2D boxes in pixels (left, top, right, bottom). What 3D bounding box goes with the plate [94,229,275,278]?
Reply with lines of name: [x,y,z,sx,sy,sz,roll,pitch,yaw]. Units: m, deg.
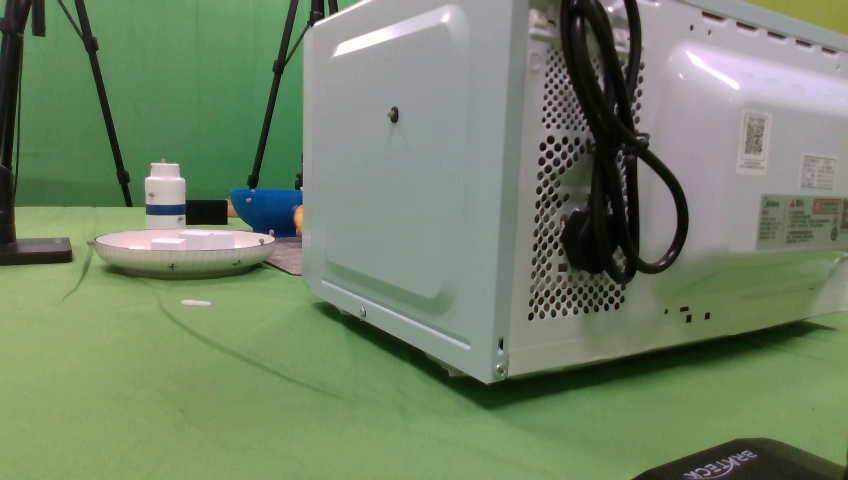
plate: [-0.291,0.016,0.750,0.208,0.039,0.207,2,7,0]

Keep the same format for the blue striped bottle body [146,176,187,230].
blue striped bottle body: [-0.430,-0.065,1.010,0.063,0.120,0.063,2,7,0]

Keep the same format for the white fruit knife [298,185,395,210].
white fruit knife: [-0.122,-0.073,0.998,0.016,0.027,0.208,24,12,40]

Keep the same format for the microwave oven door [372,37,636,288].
microwave oven door: [0.110,-0.080,0.686,0.358,0.243,0.039,-2,9,-33]

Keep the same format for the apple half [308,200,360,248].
apple half: [-0.133,-0.023,0.941,0.081,0.074,0.053,1,13,-44]

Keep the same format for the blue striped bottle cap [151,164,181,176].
blue striped bottle cap: [-0.428,-0.116,1.002,0.044,0.020,0.044,1,6,0]

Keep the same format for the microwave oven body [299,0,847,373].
microwave oven body: [0.151,-0.055,0.542,0.444,0.260,0.324,-2,7,-33]

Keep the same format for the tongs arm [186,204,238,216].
tongs arm: [-0.396,-0.067,1.399,0.389,0.028,0.028,1,5,-15]

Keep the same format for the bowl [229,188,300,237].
bowl: [-0.265,-0.048,1.066,0.151,0.077,0.151,3,8,0]

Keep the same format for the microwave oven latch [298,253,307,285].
microwave oven latch: [-0.081,0.027,0.582,0.079,0.029,0.030,-1,7,-32]

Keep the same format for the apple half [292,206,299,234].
apple half: [-0.180,-0.023,0.973,0.082,0.081,0.032,-4,-13,-42]

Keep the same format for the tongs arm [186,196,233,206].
tongs arm: [-0.404,-0.081,1.479,0.385,0.026,0.050,3,8,-2]
